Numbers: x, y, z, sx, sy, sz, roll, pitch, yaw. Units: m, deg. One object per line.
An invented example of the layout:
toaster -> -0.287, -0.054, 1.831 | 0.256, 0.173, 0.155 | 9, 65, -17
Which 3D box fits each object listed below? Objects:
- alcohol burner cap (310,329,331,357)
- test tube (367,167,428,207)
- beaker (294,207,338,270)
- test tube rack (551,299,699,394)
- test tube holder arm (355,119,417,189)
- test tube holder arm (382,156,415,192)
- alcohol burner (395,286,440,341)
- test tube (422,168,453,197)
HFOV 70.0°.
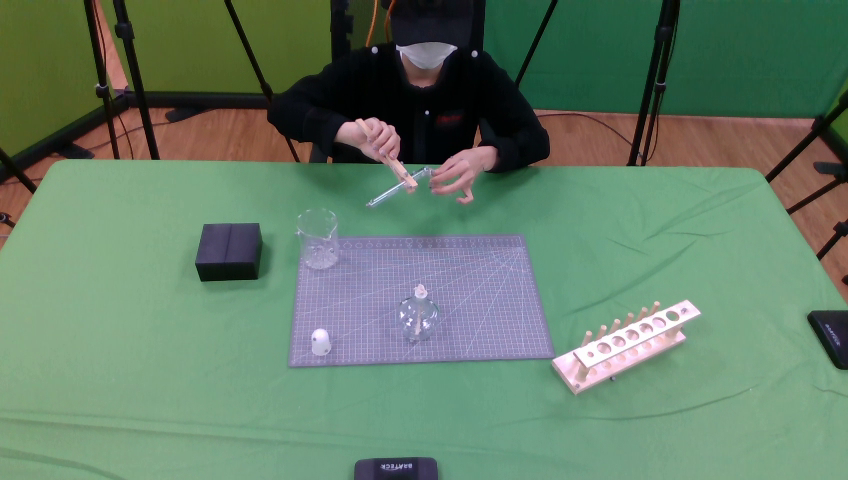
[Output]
alcohol burner cap -> -0.173, 0.168, 1.004 | 0.034, 0.048, 0.033 | 2, 46, -2
test tube -> -0.046, -0.095, 1.072 | 0.017, 0.017, 0.150 | 33, 48, 25
beaker -> -0.196, 0.003, 1.123 | 0.074, 0.101, 0.083 | -23, 53, -24
test tube rack -> 0.339, 0.166, 1.021 | 0.242, 0.085, 0.066 | -19, 50, -21
test tube holder arm -> -0.071, -0.159, 1.102 | 0.015, 0.013, 0.177 | -25, 68, -36
test tube holder arm -> -0.046, -0.122, 1.093 | 0.015, 0.010, 0.087 | -25, 70, -36
alcohol burner -> -0.010, 0.116, 1.018 | 0.078, 0.119, 0.077 | 3, 47, -3
test tube -> 0.028, -0.111, 1.186 | 0.017, 0.151, 0.017 | -5, 75, 20
